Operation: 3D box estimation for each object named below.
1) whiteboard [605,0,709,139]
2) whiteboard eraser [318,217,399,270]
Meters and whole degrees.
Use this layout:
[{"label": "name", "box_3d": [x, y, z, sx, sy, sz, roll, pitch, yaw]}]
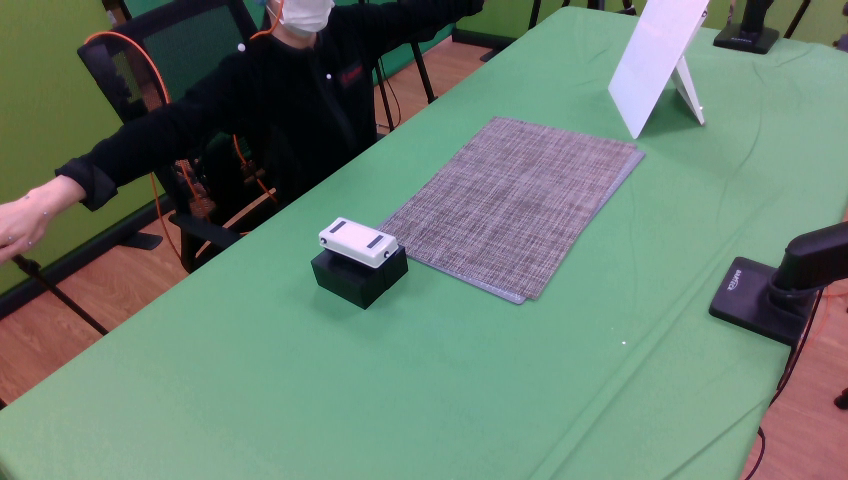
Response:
[{"label": "whiteboard", "box_3d": [0.496, -0.358, 1.146, 0.144, 0.305, 0.216, 11, 40, -8]}, {"label": "whiteboard eraser", "box_3d": [-0.097, 0.006, 0.887, 0.112, 0.042, 0.056, 20, 49, 29]}]
